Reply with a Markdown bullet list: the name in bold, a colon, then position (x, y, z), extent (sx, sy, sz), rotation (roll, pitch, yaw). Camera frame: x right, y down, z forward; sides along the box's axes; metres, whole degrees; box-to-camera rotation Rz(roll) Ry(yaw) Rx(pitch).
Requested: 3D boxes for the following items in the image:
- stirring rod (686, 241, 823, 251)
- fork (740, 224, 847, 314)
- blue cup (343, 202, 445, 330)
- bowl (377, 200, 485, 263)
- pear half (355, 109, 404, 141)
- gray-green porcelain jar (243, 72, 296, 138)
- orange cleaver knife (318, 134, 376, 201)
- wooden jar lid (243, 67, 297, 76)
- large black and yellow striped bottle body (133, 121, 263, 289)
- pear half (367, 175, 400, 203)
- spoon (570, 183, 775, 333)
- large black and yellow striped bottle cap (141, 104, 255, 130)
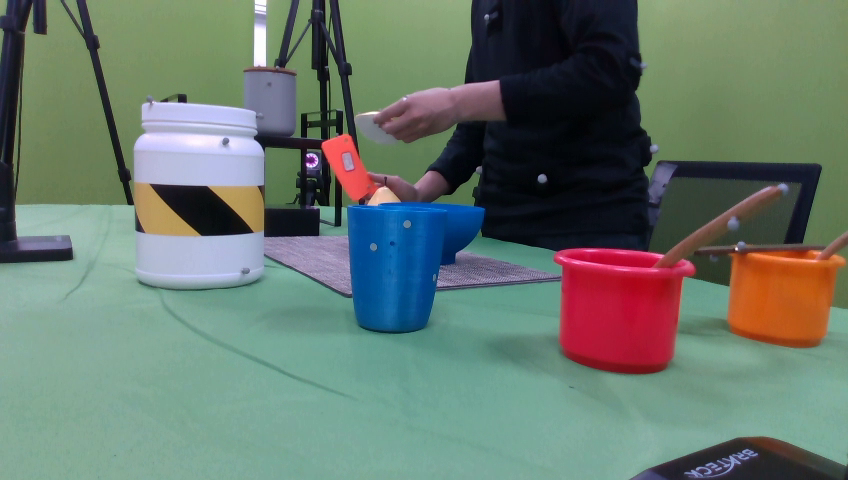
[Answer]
- **stirring rod**: position (0.289, 0.005, 0.525), extent (0.177, 0.006, 0.014), rotation (-1, 6, -26)
- **fork**: position (0.323, 0.013, 0.485), extent (0.028, 0.018, 0.207), rotation (9, -38, -5)
- **blue cup**: position (-0.027, 0.021, 0.510), extent (0.093, 0.100, 0.092), rotation (3, 5, 0)
- **bowl**: position (0.008, -0.012, 0.842), extent (0.151, 0.077, 0.151), rotation (2, 8, 0)
- **pear half**: position (-0.077, -0.208, 1.058), extent (0.088, 0.031, 0.070), rotation (23, -43, -23)
- **gray-green porcelain jar**: position (-0.322, -0.279, 1.263), extent (0.106, 0.126, 0.106), rotation (3, 8, 0)
- **orange cleaver knife**: position (-0.131, -0.114, 1.188), extent (0.012, 0.212, 0.077), rotation (-4, 36, 50)
- **wooden jar lid**: position (-0.319, -0.342, 1.254), extent (0.108, 0.020, 0.108), rotation (3, 8, 0)
- **large black and yellow striped bottle body**: position (-0.243, -0.048, 0.659), extent (0.131, 0.184, 0.130), rotation (2, 7, 0)
- **pear half**: position (-0.064, -0.061, 1.077), extent (0.055, 0.110, 0.077), rotation (9, 13, 39)
- **spoon**: position (0.160, 0.020, 0.413), extent (0.042, 0.021, 0.193), rotation (1, -36, -23)
- **large black and yellow striped bottle cap**: position (-0.241, -0.131, 0.650), extent (0.115, 0.019, 0.115), rotation (4, 8, 0)
